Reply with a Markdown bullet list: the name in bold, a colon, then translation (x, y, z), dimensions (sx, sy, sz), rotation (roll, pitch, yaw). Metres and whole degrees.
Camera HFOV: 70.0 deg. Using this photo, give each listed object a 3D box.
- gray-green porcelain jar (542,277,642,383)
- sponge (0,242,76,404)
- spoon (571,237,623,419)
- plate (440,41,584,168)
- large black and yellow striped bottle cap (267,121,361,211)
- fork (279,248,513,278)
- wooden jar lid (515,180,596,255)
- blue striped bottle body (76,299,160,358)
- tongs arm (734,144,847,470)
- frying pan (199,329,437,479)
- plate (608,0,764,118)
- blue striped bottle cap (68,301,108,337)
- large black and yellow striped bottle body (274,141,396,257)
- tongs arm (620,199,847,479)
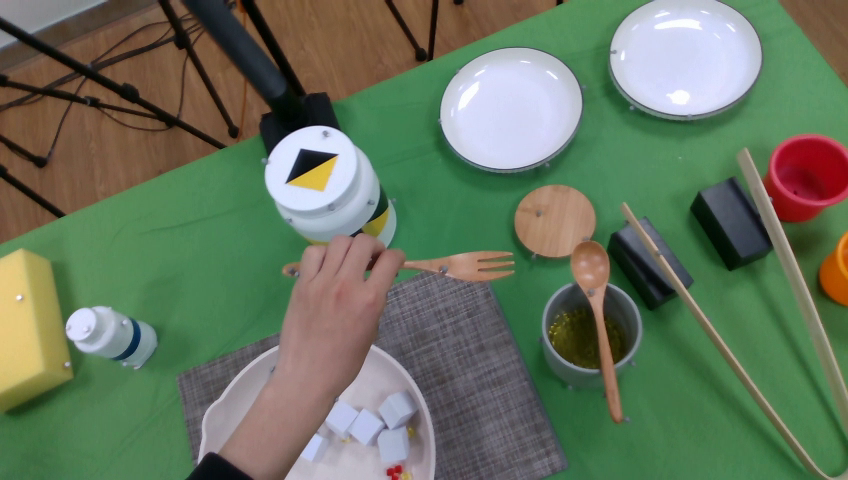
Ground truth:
- **gray-green porcelain jar**: translation (0.193, 0.110, 0.714), dimensions (0.106, 0.127, 0.105), rotation (-4, 69, 10)
- **sponge**: translation (-0.606, 0.121, 0.893), dimensions (0.118, 0.061, 0.205), rotation (-27, 68, -1)
- **spoon**: translation (0.189, 0.090, 0.646), dimensions (0.041, 0.022, 0.192), rotation (-6, 72, 4)
- **plate**: translation (0.128, -0.196, 0.890), dimensions (0.207, 0.039, 0.206), rotation (-4, 69, 10)
- **large black and yellow striped bottle cap**: translation (-0.132, -0.090, 0.728), dimensions (0.115, 0.019, 0.114), rotation (-3, 70, 9)
- **fork**: translation (-0.025, 0.021, 0.539), dimensions (0.207, 0.019, 0.028), rotation (0, 77, -3)
- **wooden jar lid**: translation (0.179, -0.029, 0.827), dimensions (0.108, 0.021, 0.107), rotation (-3, 71, 9)
- **blue striped bottle body**: translation (-0.424, 0.120, 0.827), dimensions (0.063, 0.122, 0.062), rotation (-4, 69, 10)
- **tongs arm**: translation (0.431, 0.069, 0.699), dimensions (0.028, 0.028, 0.385), rotation (-14, 79, -5)
- **frying pan**: translation (-0.163, 0.344, 0.700), dimensions (0.305, 0.103, 0.485), rotation (17, 65, 17)
- **plate**: translation (0.370, -0.263, 0.869), dimensions (0.209, 0.038, 0.207), rotation (-4, 69, 10)
- **blue striped bottle cap**: translation (-0.433, 0.101, 0.781), dimensions (0.044, 0.021, 0.044), rotation (-3, 71, 9)
- **large black and yellow striped bottle body**: translation (-0.118, -0.059, 0.805), dimensions (0.130, 0.185, 0.130), rotation (-4, 68, 9)
- **tongs arm**: translation (0.353, 0.104, 0.697), dimensions (0.051, 0.026, 0.383), rotation (-29, 79, -5)
